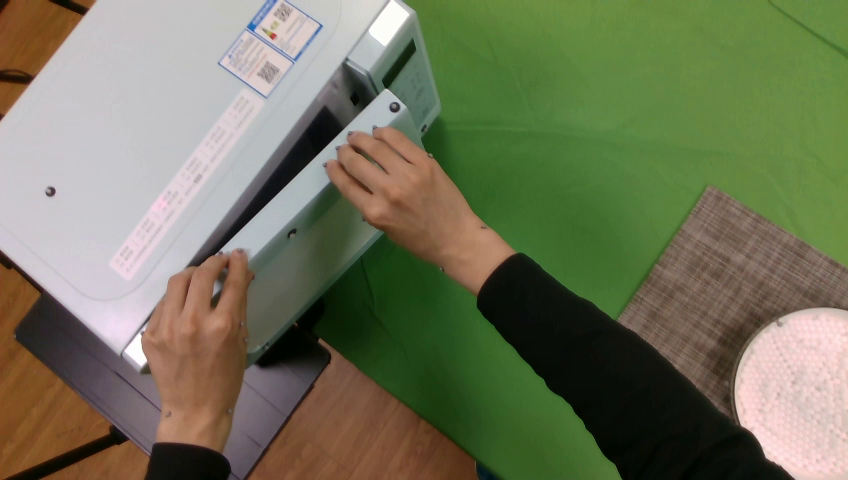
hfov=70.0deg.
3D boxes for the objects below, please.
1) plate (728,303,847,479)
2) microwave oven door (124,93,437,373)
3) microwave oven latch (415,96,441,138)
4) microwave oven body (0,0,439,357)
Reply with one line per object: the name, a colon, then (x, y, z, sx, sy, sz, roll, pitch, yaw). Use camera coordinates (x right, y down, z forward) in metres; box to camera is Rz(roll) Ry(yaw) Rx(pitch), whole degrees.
plate: (0.456, 0.177, 0.693, 0.209, 0.038, 0.208, -1, 80, 8)
microwave oven door: (-0.136, 0.012, 0.684, 0.355, 0.245, 0.039, -45, 76, -2)
microwave oven latch: (-0.009, -0.161, 0.801, 0.030, 0.029, 0.079, 38, 87, 12)
microwave oven body: (-0.245, -0.119, 0.727, 0.324, 0.261, 0.441, 35, 87, 12)
